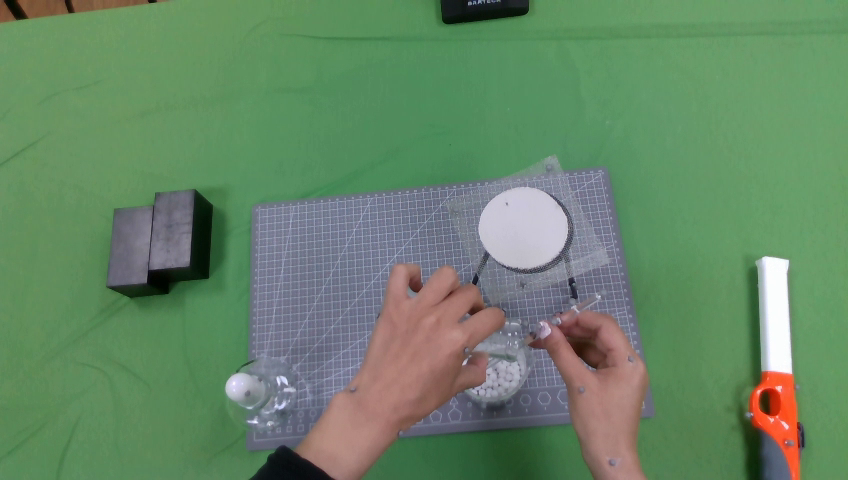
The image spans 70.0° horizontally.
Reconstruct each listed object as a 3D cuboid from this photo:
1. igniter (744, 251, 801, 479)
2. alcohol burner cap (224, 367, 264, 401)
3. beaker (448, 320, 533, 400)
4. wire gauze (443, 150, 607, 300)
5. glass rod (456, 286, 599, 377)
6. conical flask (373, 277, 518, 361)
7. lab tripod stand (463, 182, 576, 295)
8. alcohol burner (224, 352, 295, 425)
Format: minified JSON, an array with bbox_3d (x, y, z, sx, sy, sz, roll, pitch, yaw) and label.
[{"bbox_3d":[0.368,0.145,0.643,0.057,0.025,0.275,9,73,-2],"label":"igniter"},{"bbox_3d":[-0.183,0.143,0.609,0.034,0.048,0.033,0,69,1],"label":"alcohol burner cap"},{"bbox_3d":[0.069,0.129,0.636,0.084,0.101,0.073,-8,71,3],"label":"beaker"},{"bbox_3d":[0.096,-0.015,0.592,0.125,0.011,0.120,-22,72,-1],"label":"wire gauze"},{"bbox_3d":[0.086,0.088,0.550,0.008,0.200,0.008,20,50,-25],"label":"glass rod"},{"bbox_3d":[0.020,0.076,0.534,0.122,0.076,0.075,7,72,5],"label":"conical flask"},{"bbox_3d":[0.103,0.007,0.655,0.148,0.132,0.147,-2,73,6],"label":"lab tripod stand"},{"bbox_3d":[-0.180,0.155,0.643,0.078,0.120,0.077,-1,72,4],"label":"alcohol burner"}]
